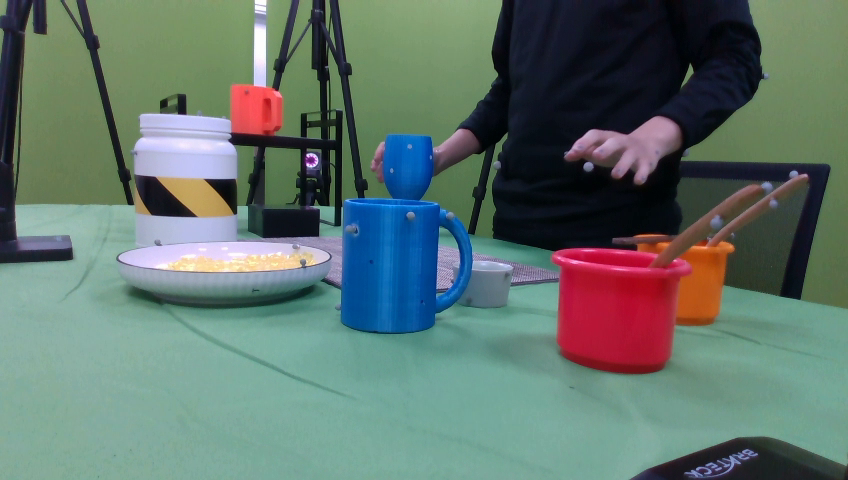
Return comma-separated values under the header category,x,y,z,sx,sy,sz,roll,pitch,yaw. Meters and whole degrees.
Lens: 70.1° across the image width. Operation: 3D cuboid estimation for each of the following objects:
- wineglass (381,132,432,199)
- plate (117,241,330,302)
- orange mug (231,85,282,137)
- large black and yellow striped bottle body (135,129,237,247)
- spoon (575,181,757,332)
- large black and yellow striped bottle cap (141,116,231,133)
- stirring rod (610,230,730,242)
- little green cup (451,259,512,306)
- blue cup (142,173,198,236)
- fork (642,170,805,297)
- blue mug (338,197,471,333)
category,x,y,z,sx,sy,sz,roll,pitch,yaw
wineglass,-0.026,-0.062,0.841,0.074,0.172,0.073,2,7,0
plate,-0.203,0.031,0.630,0.209,0.038,0.209,3,7,0
orange mug,-0.335,-0.261,1.225,0.125,0.100,0.084,2,6,35
large black and yellow striped bottle body,-0.327,-0.074,0.838,0.131,0.184,0.130,2,7,0
spoon,0.156,0.020,0.412,0.042,0.021,0.193,1,-36,-16
large black and yellow striped bottle cap,-0.324,-0.157,0.826,0.115,0.019,0.115,1,7,0
stirring rod,0.241,-0.005,0.582,0.177,0.006,0.014,-3,9,-34
little green cup,0.057,0.043,0.612,0.061,0.038,0.061,3,7,0
blue cup,-0.425,-0.060,1.014,0.093,0.100,0.092,4,9,0
fork,0.261,0.004,0.545,0.028,0.018,0.207,6,-38,-15
blue mug,-0.016,0.018,0.523,0.117,0.106,0.082,1,7,-13
